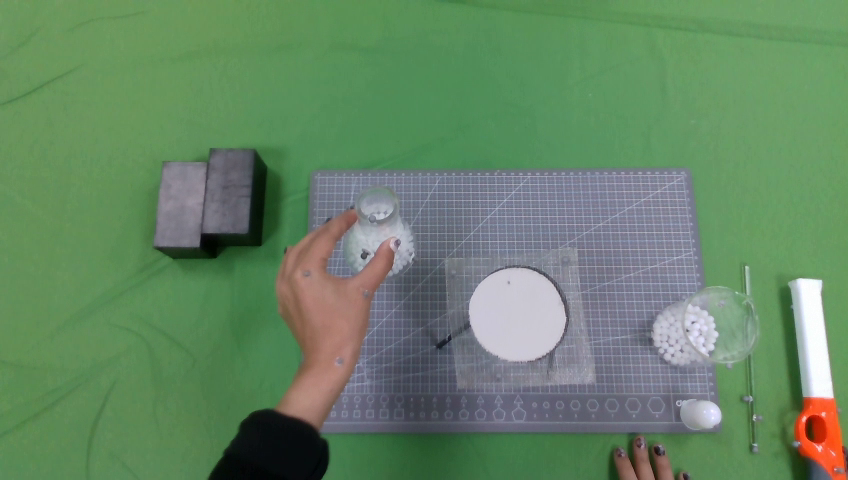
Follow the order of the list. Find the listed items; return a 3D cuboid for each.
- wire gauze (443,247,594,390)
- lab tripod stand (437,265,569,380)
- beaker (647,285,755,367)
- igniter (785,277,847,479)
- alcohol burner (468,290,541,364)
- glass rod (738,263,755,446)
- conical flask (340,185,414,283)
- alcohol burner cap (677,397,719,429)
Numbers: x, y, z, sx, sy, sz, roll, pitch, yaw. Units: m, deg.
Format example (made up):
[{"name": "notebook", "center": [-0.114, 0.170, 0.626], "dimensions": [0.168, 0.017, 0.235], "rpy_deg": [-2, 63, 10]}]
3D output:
[{"name": "wire gauze", "center": [0.083, 0.070, 0.541], "dimensions": [0.125, 0.011, 0.121], "rpy_deg": [-4, 75, -1]}, {"name": "lab tripod stand", "center": [0.084, 0.085, 0.607], "dimensions": [0.148, 0.132, 0.147], "rpy_deg": [0, 77, 1]}, {"name": "beaker", "center": [0.281, 0.091, 0.622], "dimensions": [0.084, 0.101, 0.073], "rpy_deg": [-36, 77, -9]}, {"name": "igniter", "center": [0.413, 0.176, 0.639], "dimensions": [0.057, 0.025, 0.275], "rpy_deg": [5, 75, -8]}, {"name": "alcohol burner", "center": [0.083, 0.086, 0.617], "dimensions": [0.078, 0.120, 0.077], "rpy_deg": [0, 73, 2]}, {"name": "glass rod", "center": [0.354, 0.121, 0.664], "dimensions": [0.008, 0.008, 0.198], "rpy_deg": [4, 75, 1]}, {"name": "conical flask", "center": [-0.045, -0.010, 0.565], "dimensions": [0.075, 0.122, 0.075], "rpy_deg": [1, 70, -3]}, {"name": "alcohol burner cap", "center": [0.287, 0.179, 0.628], "dimensions": [0.034, 0.048, 0.033], "rpy_deg": [0, 75, 1]}]
